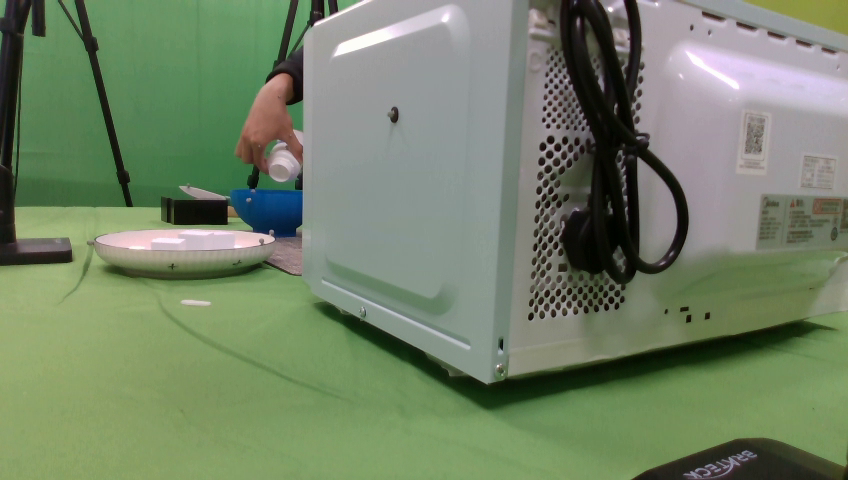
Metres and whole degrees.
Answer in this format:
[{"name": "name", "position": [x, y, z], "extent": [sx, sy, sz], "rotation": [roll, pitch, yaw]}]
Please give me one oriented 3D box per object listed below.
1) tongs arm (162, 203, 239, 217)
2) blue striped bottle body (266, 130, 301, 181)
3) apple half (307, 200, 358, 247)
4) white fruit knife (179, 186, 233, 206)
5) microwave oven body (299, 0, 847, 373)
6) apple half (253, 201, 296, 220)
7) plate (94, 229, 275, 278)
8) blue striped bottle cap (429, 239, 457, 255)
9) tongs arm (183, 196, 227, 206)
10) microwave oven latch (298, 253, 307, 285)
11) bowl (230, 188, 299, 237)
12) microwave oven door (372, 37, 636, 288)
[{"name": "tongs arm", "position": [-0.396, -0.067, 1.399], "extent": [0.389, 0.028, 0.028], "rotation": [1, 5, -15]}, {"name": "blue striped bottle body", "position": [-0.261, -0.157, 1.148], "extent": [0.063, 0.063, 0.120], "rotation": [3, 35, 2]}, {"name": "apple half", "position": [-0.135, -0.024, 0.941], "extent": [0.053, 0.074, 0.081], "rotation": [13, 9, 39]}, {"name": "white fruit knife", "position": [-0.413, -0.081, 1.270], "extent": [0.208, 0.027, 0.016], "rotation": [17, 13, -41]}, {"name": "microwave oven body", "position": [0.151, -0.055, 0.542], "extent": [0.444, 0.260, 0.324], "rotation": [-2, 7, -33]}, {"name": "apple half", "position": [-0.264, -0.053, 1.067], "extent": [0.081, 0.033, 0.081], "rotation": [2, 9, 0]}, {"name": "plate", "position": [-0.291, 0.016, 0.749], "extent": [0.208, 0.039, 0.207], "rotation": [2, 7, 0]}, {"name": "blue striped bottle cap", "position": [0.029, 0.011, 0.945], "extent": [0.044, 0.020, 0.044], "rotation": [1, 6, 0]}, {"name": "tongs arm", "position": [-0.404, -0.081, 1.479], "extent": [0.385, 0.026, 0.050], "rotation": [4, 8, -2]}, {"name": "microwave oven latch", "position": [-0.081, 0.027, 0.582], "extent": [0.079, 0.029, 0.030], "rotation": [-2, 7, -32]}, {"name": "bowl", "position": [-0.265, -0.048, 1.066], "extent": [0.151, 0.077, 0.151], "rotation": [3, 8, 0]}, {"name": "microwave oven door", "position": [0.110, -0.080, 0.686], "extent": [0.358, 0.243, 0.039], "rotation": [-2, 9, -33]}]
